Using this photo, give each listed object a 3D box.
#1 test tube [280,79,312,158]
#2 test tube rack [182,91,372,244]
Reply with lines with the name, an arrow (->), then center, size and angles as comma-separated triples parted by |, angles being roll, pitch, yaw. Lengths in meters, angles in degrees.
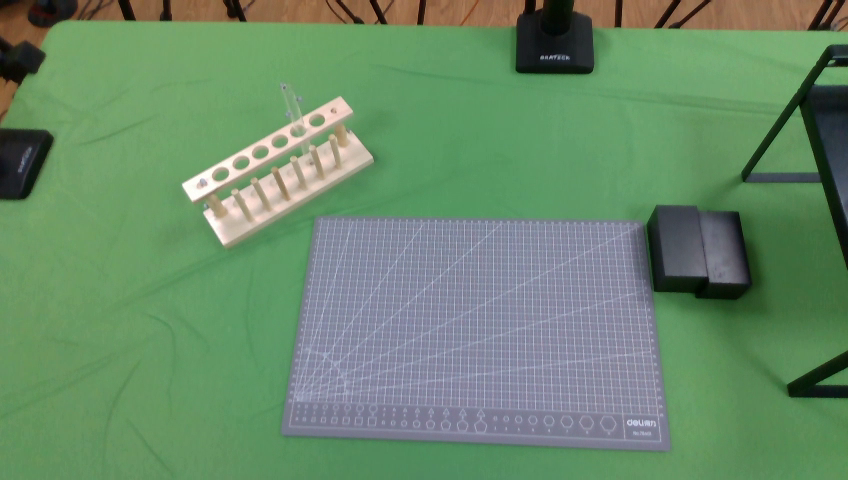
test tube -> -0.168, -0.158, 0.809 | 0.017, 0.151, 0.017 | 0, 62, 1
test tube rack -> -0.195, -0.100, 0.837 | 0.242, 0.086, 0.066 | -33, 66, -12
